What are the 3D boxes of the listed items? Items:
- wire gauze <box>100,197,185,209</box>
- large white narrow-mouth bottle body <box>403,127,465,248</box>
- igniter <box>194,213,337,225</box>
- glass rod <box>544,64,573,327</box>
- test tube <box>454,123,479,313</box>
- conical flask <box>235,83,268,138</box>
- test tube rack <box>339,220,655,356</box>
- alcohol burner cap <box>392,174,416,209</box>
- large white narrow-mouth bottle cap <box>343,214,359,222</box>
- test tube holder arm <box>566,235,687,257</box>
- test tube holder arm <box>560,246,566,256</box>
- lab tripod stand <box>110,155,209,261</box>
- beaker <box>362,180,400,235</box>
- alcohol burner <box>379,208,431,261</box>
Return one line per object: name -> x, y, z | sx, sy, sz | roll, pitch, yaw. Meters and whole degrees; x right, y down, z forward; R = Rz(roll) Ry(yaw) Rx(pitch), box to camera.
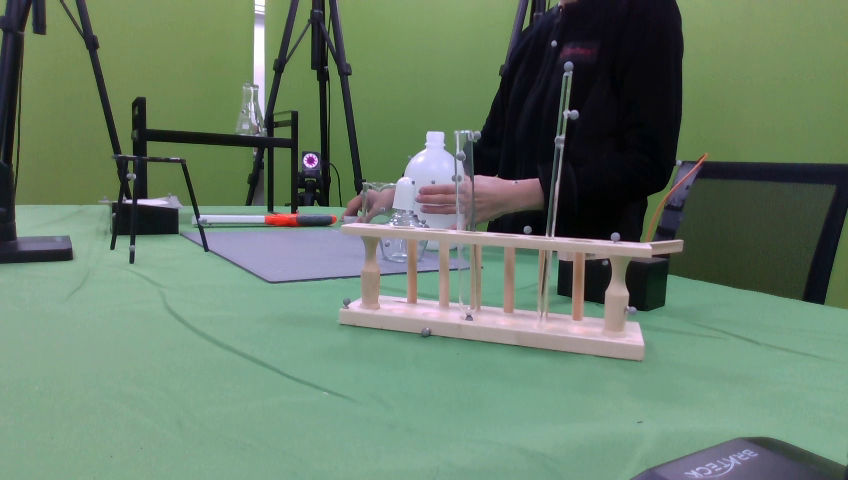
wire gauze -> -0.469, -0.062, 1.008 | 0.126, 0.011, 0.121 | -2, 8, -25
large white narrow-mouth bottle body -> 0.017, -0.088, 1.001 | 0.102, 0.194, 0.102 | 2, 8, 0
igniter -> -0.306, -0.042, 1.196 | 0.278, 0.025, 0.057 | -2, -2, -31
glass rod -> 0.101, -0.028, 0.453 | 0.008, 0.199, 0.008 | 1, 14, 0
test tube -> 0.034, -0.016, 0.476 | 0.017, 0.150, 0.017 | -2, 9, 1
conical flask -> -0.402, -0.299, 1.406 | 0.075, 0.122, 0.075 | 2, 7, 0
test tube rack -> 0.056, 0.032, 0.495 | 0.242, 0.085, 0.067 | 4, 7, 15
alcohol burner cap -> -0.025, -0.067, 0.834 | 0.034, 0.048, 0.034 | 8, 7, -1
large white narrow-mouth bottle cap -> -0.155, -0.043, 1.282 | 0.038, 0.024, 0.037 | 2, 8, 0
test tube holder arm -> 0.215, 0.006, 0.630 | 0.179, 0.015, 0.013 | -3, 9, -31
test tube holder arm -> 0.173, 0.007, 0.612 | 0.088, 0.015, 0.010 | -3, 9, -29
lab tripod stand -> -0.361, -0.046, 0.806 | 0.148, 0.131, 0.148 | 2, 5, 0
beaker -> -0.081, -0.062, 1.142 | 0.074, 0.100, 0.084 | 2, 8, 1
alcohol burner -> -0.027, -0.031, 0.838 | 0.078, 0.119, 0.078 | 0, 6, 0
